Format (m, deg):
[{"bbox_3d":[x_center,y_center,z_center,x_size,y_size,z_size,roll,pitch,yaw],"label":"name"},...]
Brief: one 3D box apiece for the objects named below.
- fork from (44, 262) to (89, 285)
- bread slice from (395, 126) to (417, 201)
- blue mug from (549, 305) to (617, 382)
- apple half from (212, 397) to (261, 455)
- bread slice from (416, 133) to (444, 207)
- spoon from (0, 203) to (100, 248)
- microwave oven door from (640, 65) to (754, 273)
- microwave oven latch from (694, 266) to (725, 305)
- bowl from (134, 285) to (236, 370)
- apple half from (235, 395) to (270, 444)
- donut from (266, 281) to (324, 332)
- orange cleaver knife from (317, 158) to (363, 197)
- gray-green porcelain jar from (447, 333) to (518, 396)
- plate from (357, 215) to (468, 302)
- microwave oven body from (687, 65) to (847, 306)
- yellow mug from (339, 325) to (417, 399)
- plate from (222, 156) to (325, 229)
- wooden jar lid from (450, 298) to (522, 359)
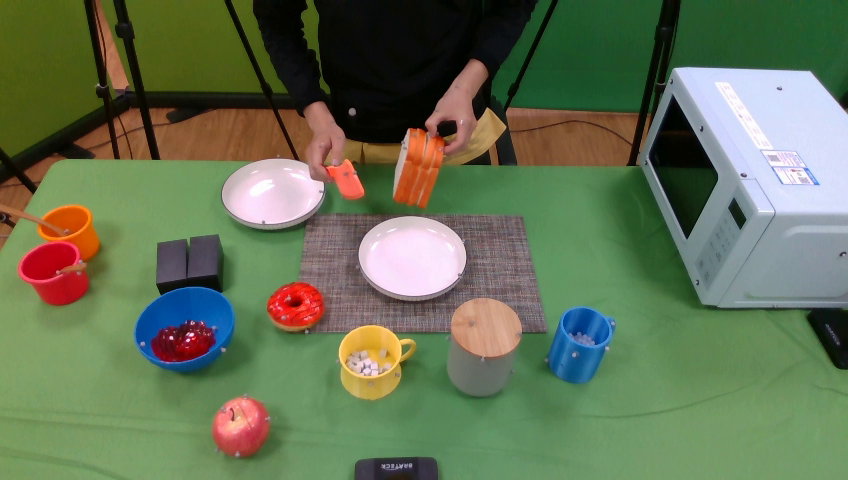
[{"bbox_3d":[-0.598,0.054,1.014,0.207,0.019,0.028,-15,28,45],"label":"fork"},{"bbox_3d":[-0.036,-0.159,1.188,0.019,0.132,0.104,11,41,-9],"label":"bread slice"},{"bbox_3d":[0.269,0.166,0.998,0.116,0.106,0.082,-19,51,-21],"label":"blue mug"},{"bbox_3d":[-0.276,0.276,0.877,0.053,0.075,0.080,-29,58,-21],"label":"apple half"},{"bbox_3d":[0.011,-0.144,1.198,0.018,0.135,0.106,12,46,-13],"label":"bread slice"},{"bbox_3d":[-0.683,-0.031,1.088,0.195,0.021,0.041,33,33,-38],"label":"spoon"},{"bbox_3d":[0.523,-0.147,1.193,0.039,0.245,0.353,0,47,-3],"label":"microwave oven door"},{"bbox_3d":[0.523,0.082,1.115,0.030,0.029,0.078,3,46,0],"label":"microwave oven latch"},{"bbox_3d":[-0.377,0.155,0.981,0.151,0.077,0.150,2,46,-2],"label":"bowl"},{"bbox_3d":[-0.245,0.259,0.893,0.033,0.082,0.081,-29,55,-22],"label":"apple half"},{"bbox_3d":[-0.222,0.114,1.049,0.099,0.048,0.098,2,46,-2],"label":"donut"},{"bbox_3d":[-0.156,-0.114,1.119,0.012,0.077,0.210,-28,17,-20],"label":"orange cleaver knife"},{"bbox_3d":[0.091,0.178,0.960,0.106,0.127,0.105,2,46,-2],"label":"gray-green porcelain jar"},{"bbox_3d":[-0.022,0.037,1.141,0.208,0.039,0.206,2,46,-2],"label":"plate"},{"bbox_3d":[0.669,-0.111,1.176,0.326,0.261,0.439,0,46,-3],"label":"microwave oven body"},{"bbox_3d":[-0.072,0.191,0.978,0.131,0.064,0.099,-17,50,-20],"label":"yellow mug"},{"bbox_3d":[-0.308,-0.095,1.251,0.209,0.038,0.208,2,47,-2],"label":"plate"},{"bbox_3d":[0.093,0.135,0.914,0.108,0.021,0.107,2,48,-3],"label":"wooden jar lid"}]
